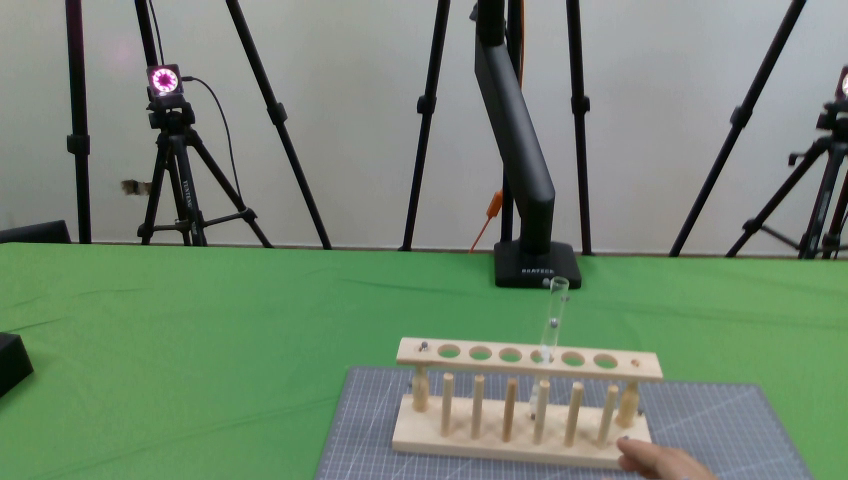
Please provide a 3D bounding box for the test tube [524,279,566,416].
[{"bbox_3d":[0.112,0.104,0.565,0.017,0.151,0.017,4,26,-2],"label":"test tube"}]

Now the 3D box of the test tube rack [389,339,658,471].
[{"bbox_3d":[0.091,0.155,0.574,0.242,0.086,0.066,3,27,6],"label":"test tube rack"}]
